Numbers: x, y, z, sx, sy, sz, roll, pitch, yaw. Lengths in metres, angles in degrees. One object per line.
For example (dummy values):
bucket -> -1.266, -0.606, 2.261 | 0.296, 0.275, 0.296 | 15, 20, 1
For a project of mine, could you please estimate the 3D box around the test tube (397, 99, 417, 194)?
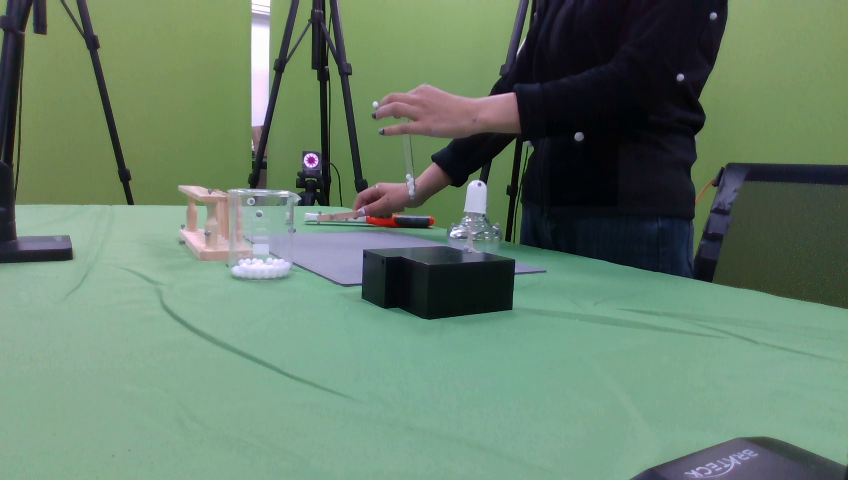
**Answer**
test tube -> -0.027, -0.147, 0.951 | 0.017, 0.150, 0.017 | -6, 1, 0

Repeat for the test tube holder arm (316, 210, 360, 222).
test tube holder arm -> -0.166, -0.047, 1.180 | 0.088, 0.015, 0.010 | -8, 8, -22

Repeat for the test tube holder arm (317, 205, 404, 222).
test tube holder arm -> -0.122, -0.053, 1.191 | 0.179, 0.015, 0.013 | -8, 8, -22

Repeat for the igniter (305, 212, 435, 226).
igniter -> -0.114, -0.046, 1.296 | 0.277, 0.025, 0.057 | 1, -2, -11

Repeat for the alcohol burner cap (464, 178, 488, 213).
alcohol burner cap -> 0.074, -0.060, 0.824 | 0.034, 0.048, 0.034 | 6, 4, 0

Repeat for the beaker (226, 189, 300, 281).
beaker -> -0.184, -0.007, 0.694 | 0.084, 0.100, 0.073 | -1, 8, -29

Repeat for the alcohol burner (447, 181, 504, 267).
alcohol burner -> 0.070, -0.024, 0.828 | 0.078, 0.119, 0.078 | 0, 6, 0

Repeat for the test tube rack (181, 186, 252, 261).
test tube rack -> -0.312, -0.031, 0.893 | 0.067, 0.085, 0.241 | -1, 8, -27
